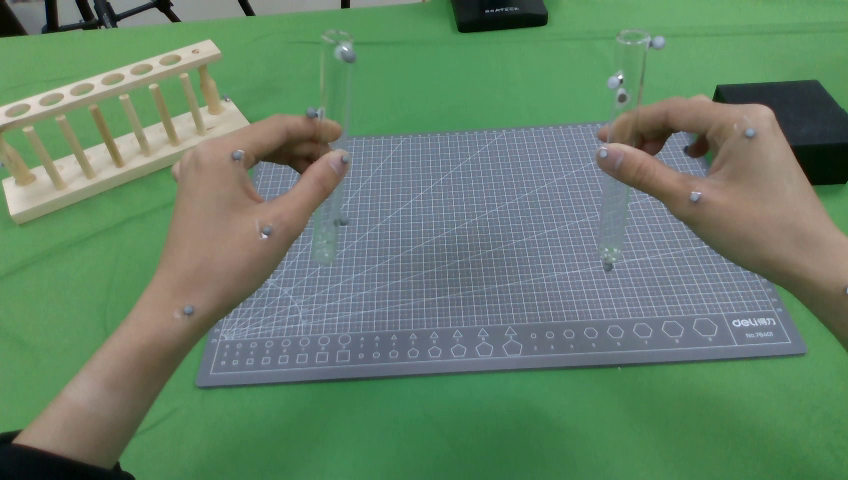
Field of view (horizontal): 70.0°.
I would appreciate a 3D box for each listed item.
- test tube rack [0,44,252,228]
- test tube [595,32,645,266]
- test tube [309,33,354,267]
[{"bbox_3d":[-0.310,-0.110,0.612,0.242,0.086,0.066,-27,50,-21],"label":"test tube rack"},{"bbox_3d":[0.108,-0.042,0.341,0.017,0.152,0.017,-5,41,5],"label":"test tube"},{"bbox_3d":[-0.054,-0.042,0.344,0.017,0.151,0.017,8,39,-6],"label":"test tube"}]
